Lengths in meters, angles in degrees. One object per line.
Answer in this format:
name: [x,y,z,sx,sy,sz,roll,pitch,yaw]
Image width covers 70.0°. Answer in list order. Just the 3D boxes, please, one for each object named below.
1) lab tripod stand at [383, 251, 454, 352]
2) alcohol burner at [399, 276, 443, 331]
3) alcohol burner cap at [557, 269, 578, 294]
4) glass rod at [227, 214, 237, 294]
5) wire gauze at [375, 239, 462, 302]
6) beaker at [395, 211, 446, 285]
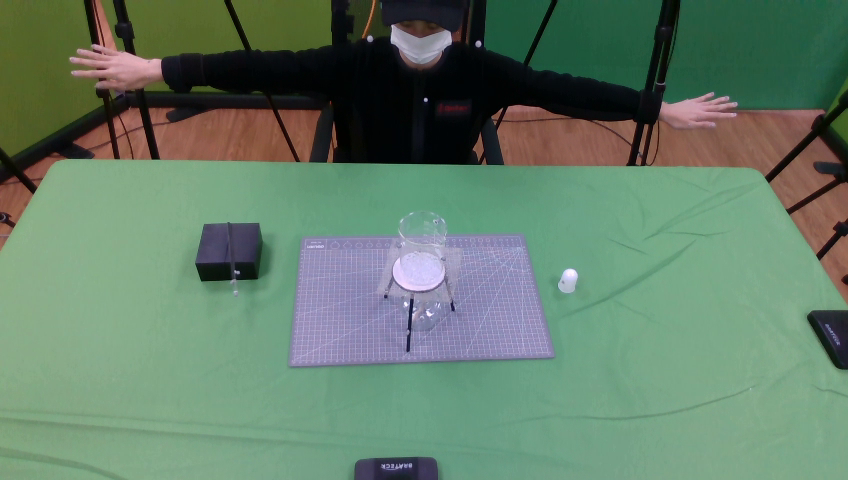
lab tripod stand: [-0.016,0.094,1.025,0.148,0.132,0.147,1,46,-1]
alcohol burner: [-0.004,0.100,1.033,0.078,0.119,0.077,3,48,-3]
alcohol burner cap: [0.270,0.074,1.135,0.034,0.048,0.033,2,46,-2]
glass rod: [-0.347,0.022,1.092,0.008,0.008,0.198,-9,47,-13]
wire gauze: [-0.006,0.049,0.977,0.121,0.011,0.124,10,44,5]
beaker: [-0.002,0.017,0.941,0.083,0.101,0.074,36,54,29]
